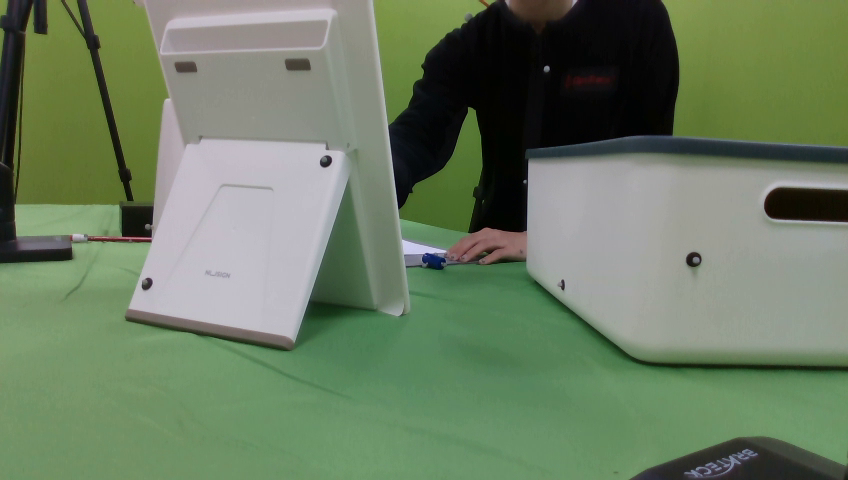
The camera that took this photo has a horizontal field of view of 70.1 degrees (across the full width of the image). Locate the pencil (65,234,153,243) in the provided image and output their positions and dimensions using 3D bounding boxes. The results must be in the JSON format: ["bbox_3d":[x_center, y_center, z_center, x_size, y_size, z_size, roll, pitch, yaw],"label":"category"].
[{"bbox_3d":[-0.429,0.000,0.910,0.195,0.012,0.012,2,7,-19],"label":"pencil"}]

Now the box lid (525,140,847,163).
[{"bbox_3d":[0.261,-0.078,0.580,0.264,0.015,0.371,2,7,-4],"label":"box lid"}]

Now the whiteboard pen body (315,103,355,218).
[{"bbox_3d":[-0.087,-0.078,0.581,0.017,0.140,0.017,6,-33,4],"label":"whiteboard pen body"}]

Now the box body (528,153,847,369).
[{"bbox_3d":[0.258,-0.005,0.591,0.254,0.160,0.363,2,7,-4],"label":"box body"}]

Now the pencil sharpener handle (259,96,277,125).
[{"bbox_3d":[-0.373,-0.304,1.425,0.036,0.067,0.030,13,-1,-37],"label":"pencil sharpener handle"}]

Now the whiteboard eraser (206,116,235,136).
[{"bbox_3d":[-0.449,-0.251,1.335,0.056,0.042,0.112,1,7,-22],"label":"whiteboard eraser"}]

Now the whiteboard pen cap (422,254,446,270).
[{"bbox_3d":[0.013,0.029,0.806,0.018,0.018,0.033,-4,14,-42],"label":"whiteboard pen cap"}]

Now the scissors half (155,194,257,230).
[{"bbox_3d":[-0.378,-0.051,1.058,0.176,0.040,0.012,20,22,-31],"label":"scissors half"}]

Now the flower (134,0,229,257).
[{"bbox_3d":[-0.282,-0.146,0.712,0.038,0.362,0.044,-23,23,-31],"label":"flower"}]

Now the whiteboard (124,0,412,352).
[{"bbox_3d":[-0.151,-0.049,0.471,0.216,0.305,0.144,6,27,24],"label":"whiteboard"}]

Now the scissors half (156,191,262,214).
[{"bbox_3d":[-0.371,-0.068,1.051,0.176,0.040,0.013,2,25,-24],"label":"scissors half"}]

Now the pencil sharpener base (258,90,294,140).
[{"bbox_3d":[-0.341,-0.285,1.388,0.062,0.107,0.076,-3,9,-36],"label":"pencil sharpener base"}]

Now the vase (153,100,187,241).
[{"bbox_3d":[-0.278,-0.066,0.736,0.098,0.200,0.098,2,9,0],"label":"vase"}]
